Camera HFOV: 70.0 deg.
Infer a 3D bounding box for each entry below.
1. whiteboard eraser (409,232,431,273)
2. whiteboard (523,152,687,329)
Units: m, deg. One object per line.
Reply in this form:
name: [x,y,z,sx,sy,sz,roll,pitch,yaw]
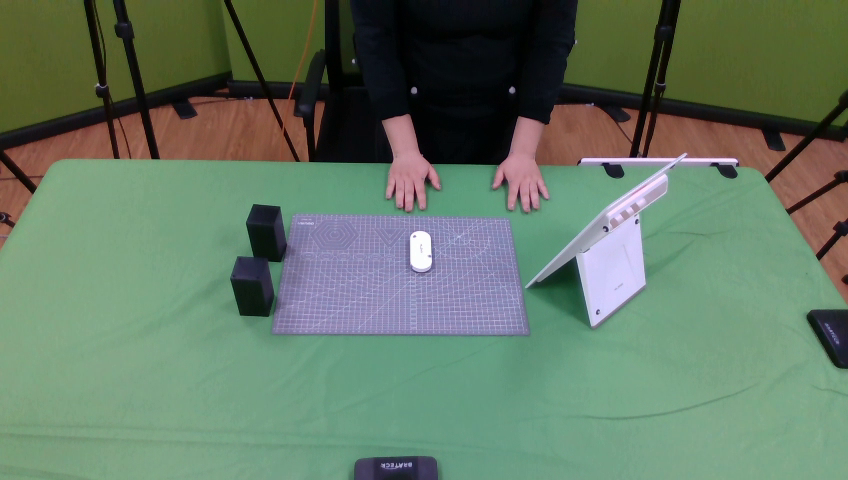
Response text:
whiteboard eraser: [-0.008,0.023,1.173,0.041,0.019,0.100,1,45,-3]
whiteboard: [0.346,0.025,1.046,0.217,0.306,0.143,-30,74,-29]
